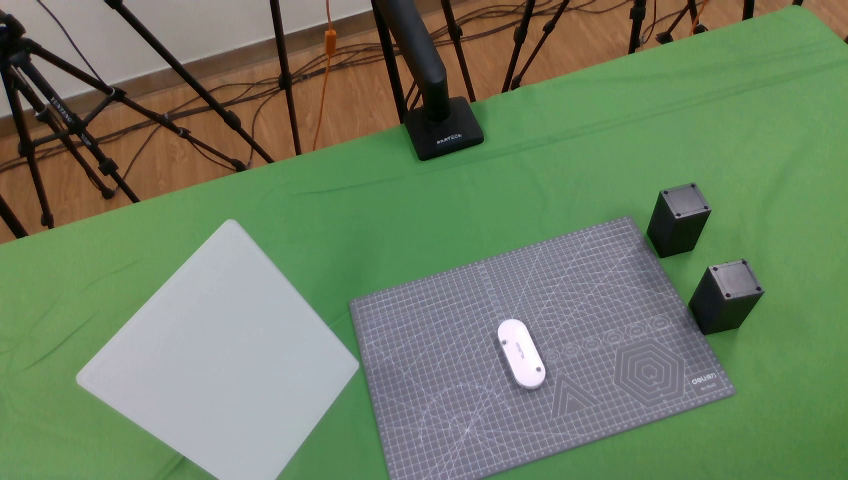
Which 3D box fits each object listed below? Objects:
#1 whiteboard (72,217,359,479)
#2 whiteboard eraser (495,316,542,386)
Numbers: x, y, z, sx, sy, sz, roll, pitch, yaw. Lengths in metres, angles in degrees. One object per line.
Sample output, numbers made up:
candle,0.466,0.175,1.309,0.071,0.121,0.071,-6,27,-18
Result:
whiteboard,-0.258,0.137,0.746,0.142,0.309,0.216,16,59,40
whiteboard eraser,0.127,0.149,0.819,0.041,0.019,0.100,-18,57,-5
